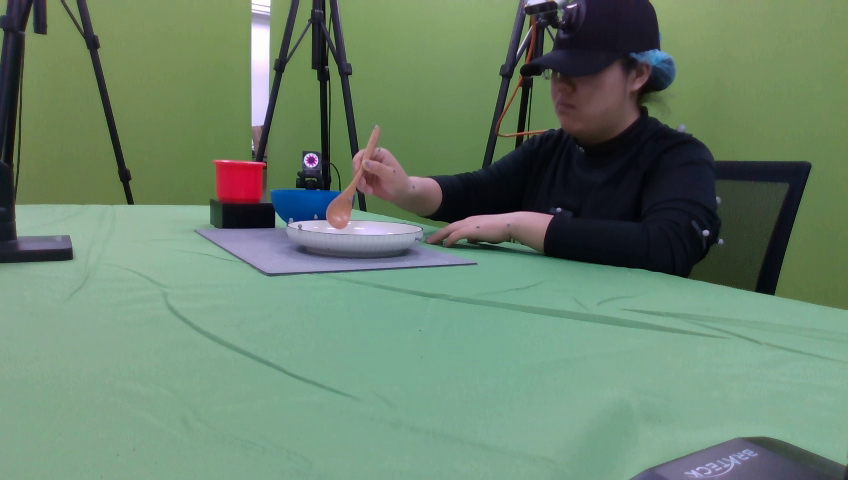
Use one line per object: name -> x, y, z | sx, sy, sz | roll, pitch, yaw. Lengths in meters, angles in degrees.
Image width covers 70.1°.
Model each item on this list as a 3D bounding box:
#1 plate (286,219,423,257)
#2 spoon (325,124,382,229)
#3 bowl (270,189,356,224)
plate -> -0.105, -0.004, 0.922 | 0.208, 0.039, 0.207 | 3, 8, 0
spoon -> -0.106, -0.104, 0.963 | 0.042, 0.193, 0.021 | 31, -16, -22
bowl -> -0.198, -0.049, 1.080 | 0.151, 0.077, 0.151 | 3, 7, 0
